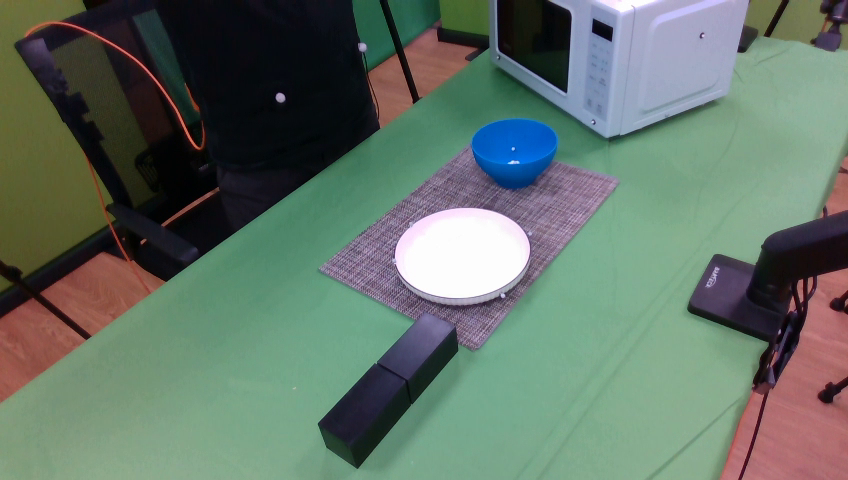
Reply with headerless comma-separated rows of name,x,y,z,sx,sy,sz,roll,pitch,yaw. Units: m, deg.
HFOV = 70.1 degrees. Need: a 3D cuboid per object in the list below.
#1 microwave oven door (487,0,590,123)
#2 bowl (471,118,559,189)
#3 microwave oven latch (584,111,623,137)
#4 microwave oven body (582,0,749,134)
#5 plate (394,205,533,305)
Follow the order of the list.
microwave oven door,0.232,-0.420,1.231,0.039,0.245,0.352,-22,42,-16
bowl,0.160,-0.144,1.066,0.151,0.077,0.150,-4,41,4
microwave oven latch,0.337,-0.222,1.142,0.030,0.029,0.078,-21,42,-14
microwave oven body,0.382,-0.444,1.246,0.327,0.261,0.437,-22,42,-16
plate,0.059,0.025,0.915,0.207,0.039,0.206,-4,41,4
